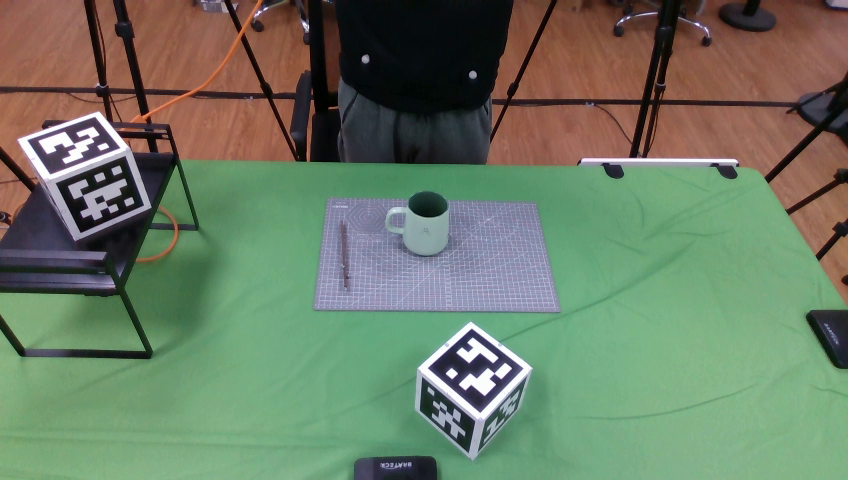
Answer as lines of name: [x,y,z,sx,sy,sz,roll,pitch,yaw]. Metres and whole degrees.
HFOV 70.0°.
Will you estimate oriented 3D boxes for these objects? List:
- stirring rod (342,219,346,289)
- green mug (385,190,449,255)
stirring rod: [-0.154,0.024,1.161,0.006,0.014,0.175,-7,47,-2]
green mug: [-0.013,-0.033,1.166,0.125,0.105,0.092,2,46,-2]
